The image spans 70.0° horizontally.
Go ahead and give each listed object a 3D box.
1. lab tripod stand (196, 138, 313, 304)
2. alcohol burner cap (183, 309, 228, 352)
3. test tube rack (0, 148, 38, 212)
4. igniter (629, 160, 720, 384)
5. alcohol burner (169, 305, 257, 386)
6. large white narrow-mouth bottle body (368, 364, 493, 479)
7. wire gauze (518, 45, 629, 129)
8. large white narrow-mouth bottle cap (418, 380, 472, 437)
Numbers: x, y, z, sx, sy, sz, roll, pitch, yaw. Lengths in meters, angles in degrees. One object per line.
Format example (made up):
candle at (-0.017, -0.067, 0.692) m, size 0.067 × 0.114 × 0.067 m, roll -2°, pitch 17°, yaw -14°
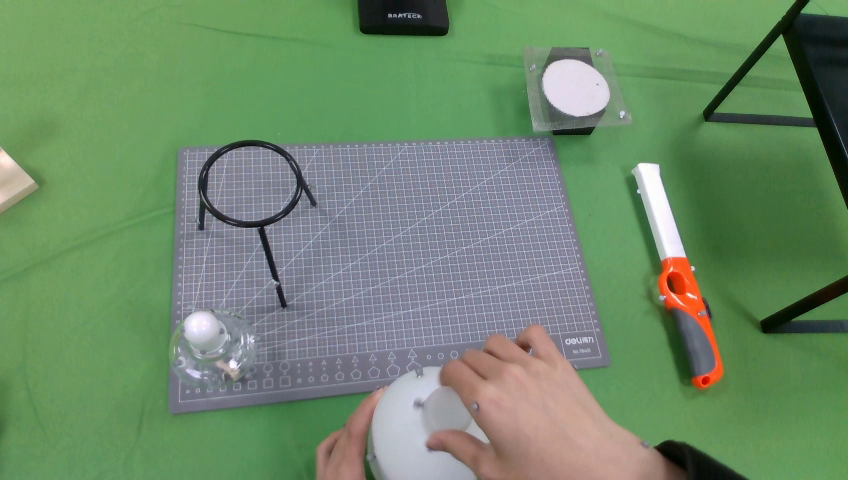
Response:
lab tripod stand at (-0.162, -0.024, 0.597) m, size 0.149 × 0.132 × 0.147 m, roll 4°, pitch 65°, yaw -9°
alcohol burner cap at (-0.188, 0.076, 0.517) m, size 0.034 × 0.048 × 0.033 m, roll 3°, pitch 70°, yaw -7°
test tube rack at (-0.513, -0.019, 0.571) m, size 0.066 × 0.085 × 0.242 m, roll 41°, pitch 66°, yaw 11°
igniter at (0.288, 0.029, 0.702) m, size 0.057 × 0.025 × 0.274 m, roll 1°, pitch 65°, yaw -19°
alcohol burner at (-0.193, 0.090, 0.550) m, size 0.078 × 0.120 × 0.077 m, roll 4°, pitch 63°, yaw -8°
large white narrow-mouth bottle body at (0.005, 0.159, 0.507) m, size 0.102 × 0.196 × 0.101 m, roll 3°, pitch 64°, yaw -6°
wire gauze at (0.181, -0.191, 0.745) m, size 0.122 × 0.011 × 0.124 m, roll -2°, pitch 66°, yaw -9°
large white narrow-mouth bottle cap at (0.014, 0.119, 0.427) m, size 0.038 × 0.024 × 0.037 m, roll 3°, pitch 64°, yaw -6°
